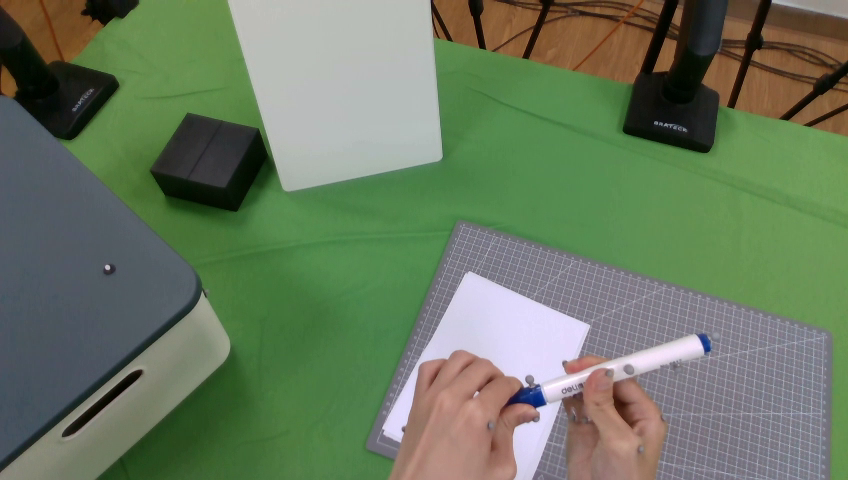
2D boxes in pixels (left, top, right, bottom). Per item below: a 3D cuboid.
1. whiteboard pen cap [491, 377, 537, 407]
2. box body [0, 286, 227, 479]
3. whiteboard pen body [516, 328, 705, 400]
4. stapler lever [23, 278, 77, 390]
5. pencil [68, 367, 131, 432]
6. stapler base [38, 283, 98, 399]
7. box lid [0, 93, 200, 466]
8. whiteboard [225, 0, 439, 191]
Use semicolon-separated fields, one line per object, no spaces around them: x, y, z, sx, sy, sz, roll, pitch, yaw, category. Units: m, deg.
0.065;0.107;0.428;0.033;0.018;0.018;-13;58;8;whiteboard pen cap
-0.413;0.057;0.616;0.361;0.161;0.253;37;65;19;box body
0.122;0.088;0.416;0.141;0.017;0.017;-20;59;7;whiteboard pen body
-0.398;0.095;0.637;0.027;0.040;0.117;-10;60;17;stapler lever
-0.320;0.138;0.648;0.012;0.012;0.193;20;51;12;pencil
-0.391;0.105;0.657;0.041;0.025;0.129;-10;62;17;stapler base
-0.414;0.018;0.553;0.369;0.015;0.263;37;65;19;box lid
-0.111;-0.245;0.755;0.217;0.308;0.142;-12;40;-7;whiteboard
